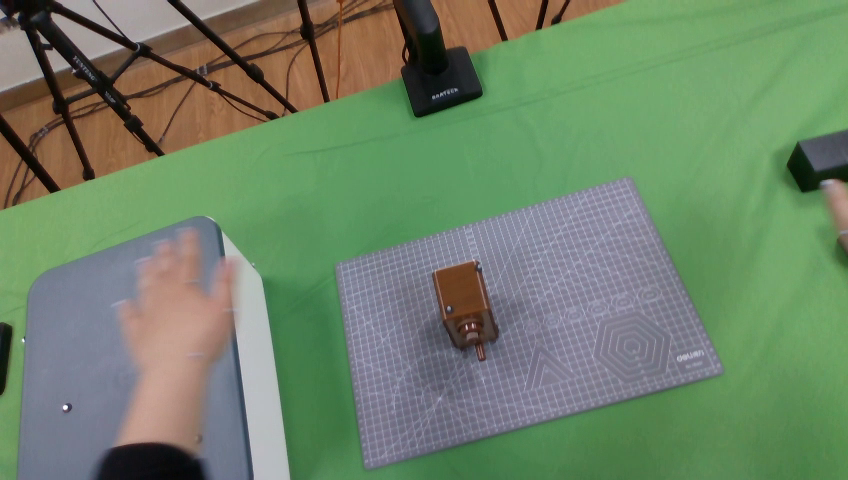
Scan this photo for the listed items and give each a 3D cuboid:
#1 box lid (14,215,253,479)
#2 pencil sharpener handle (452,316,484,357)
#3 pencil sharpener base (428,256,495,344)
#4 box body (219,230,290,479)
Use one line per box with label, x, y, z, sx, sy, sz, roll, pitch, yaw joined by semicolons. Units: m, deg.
box lid;-0.342;0.152;0.697;0.263;0.015;0.367;-19;61;1
pencil sharpener handle;0.059;0.118;0.731;0.036;0.068;0.030;-19;60;10
pencil sharpener base;0.050;0.081;0.767;0.061;0.108;0.076;-15;60;4
box body;-0.331;0.185;0.769;0.254;0.162;0.360;-19;60;1
